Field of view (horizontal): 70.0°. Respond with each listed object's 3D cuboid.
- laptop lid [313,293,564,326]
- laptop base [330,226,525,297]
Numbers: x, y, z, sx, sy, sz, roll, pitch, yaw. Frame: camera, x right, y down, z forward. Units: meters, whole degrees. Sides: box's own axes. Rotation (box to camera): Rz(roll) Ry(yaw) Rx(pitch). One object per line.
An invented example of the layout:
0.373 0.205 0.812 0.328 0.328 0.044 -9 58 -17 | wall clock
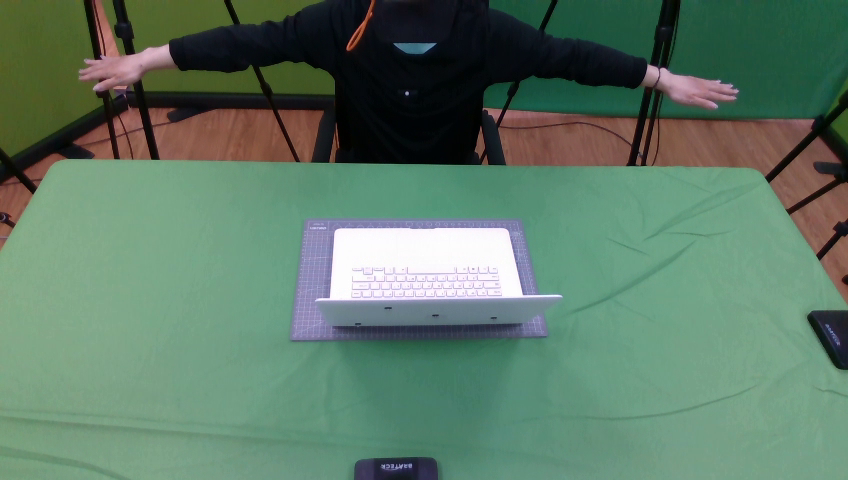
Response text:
0.017 0.112 0.945 0.357 0.242 0.013 0 74 -5 | laptop lid
0.005 0.061 1.137 0.355 0.023 0.234 0 43 -4 | laptop base
